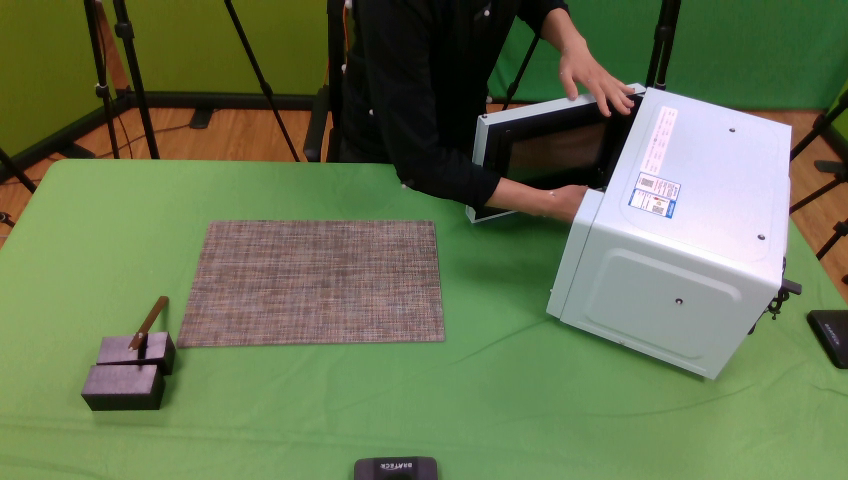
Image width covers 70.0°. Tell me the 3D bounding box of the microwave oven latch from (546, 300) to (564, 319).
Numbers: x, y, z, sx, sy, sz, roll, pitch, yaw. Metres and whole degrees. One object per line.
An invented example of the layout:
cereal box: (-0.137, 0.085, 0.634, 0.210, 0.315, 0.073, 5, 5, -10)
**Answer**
microwave oven latch: (0.242, 0.102, 1.081, 0.030, 0.029, 0.079, 21, 48, 17)

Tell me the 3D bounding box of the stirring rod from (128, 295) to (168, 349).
stirring rod: (-0.451, 0.131, 0.996, 0.014, 0.006, 0.175, 9, 20, -10)

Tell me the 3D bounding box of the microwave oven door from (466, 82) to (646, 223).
microwave oven door: (0.259, -0.173, 1.205, 0.356, 0.245, 0.039, -15, 48, -18)

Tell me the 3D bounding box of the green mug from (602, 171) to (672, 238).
green mug: (0.395, -0.062, 1.136, 0.125, 0.105, 0.092, -10, 45, -8)

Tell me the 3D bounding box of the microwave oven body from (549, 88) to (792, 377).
microwave oven body: (0.456, -0.028, 1.088, 0.325, 0.261, 0.440, 20, 47, 16)
